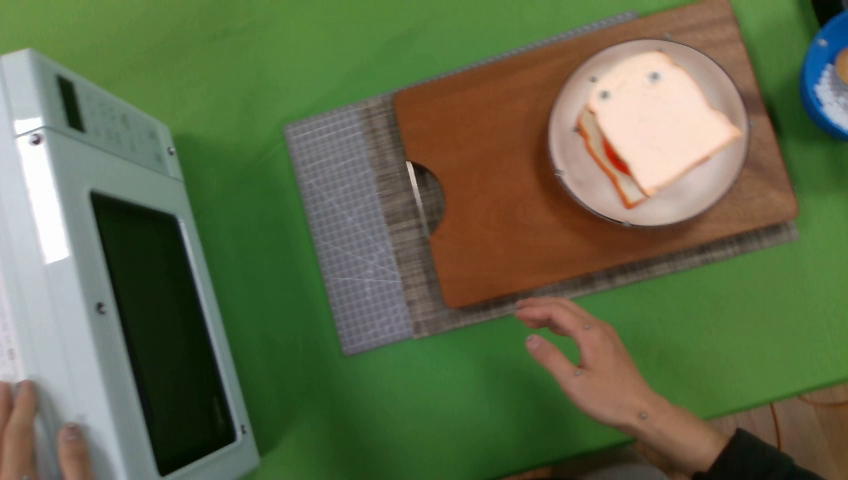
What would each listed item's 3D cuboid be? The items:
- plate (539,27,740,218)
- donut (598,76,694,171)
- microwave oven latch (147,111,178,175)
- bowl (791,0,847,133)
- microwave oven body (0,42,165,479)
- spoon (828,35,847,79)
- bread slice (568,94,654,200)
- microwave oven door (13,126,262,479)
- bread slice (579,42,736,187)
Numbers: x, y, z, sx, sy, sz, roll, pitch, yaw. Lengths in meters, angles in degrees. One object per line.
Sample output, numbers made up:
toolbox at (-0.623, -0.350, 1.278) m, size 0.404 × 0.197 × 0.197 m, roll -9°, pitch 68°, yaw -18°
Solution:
plate at (0.230, -0.126, 0.664) m, size 0.207 × 0.039 × 0.207 m, roll -1°, pitch 86°, yaw 7°
donut at (0.231, -0.121, 0.634) m, size 0.099 × 0.048 × 0.099 m, roll 0°, pitch 88°, yaw 0°
microwave oven latch at (-0.329, -0.115, 0.739) m, size 0.030 × 0.029 × 0.079 m, roll -19°, pitch 84°, yaw 4°
bowl at (0.462, -0.178, 0.649) m, size 0.151 × 0.077 × 0.151 m, roll -1°, pitch 86°, yaw 7°
microwave oven body at (-0.425, 0.091, 0.637) m, size 0.326 × 0.261 × 0.440 m, roll -19°, pitch 84°, yaw 4°
spoon at (0.474, -0.135, 0.614) m, size 0.041 × 0.022 × 0.192 m, roll -18°, pitch 61°, yaw 3°
bread slice at (0.224, -0.123, 0.668) m, size 0.105 × 0.019 × 0.131 m, roll -35°, pitch 85°, yaw 1°
microwave oven door at (-0.274, 0.082, 0.615) m, size 0.039 × 0.244 × 0.354 m, roll -20°, pitch 83°, yaw 5°
bread slice at (0.221, -0.130, 0.606) m, size 0.107 × 0.018 × 0.133 m, roll -38°, pitch 76°, yaw 3°
